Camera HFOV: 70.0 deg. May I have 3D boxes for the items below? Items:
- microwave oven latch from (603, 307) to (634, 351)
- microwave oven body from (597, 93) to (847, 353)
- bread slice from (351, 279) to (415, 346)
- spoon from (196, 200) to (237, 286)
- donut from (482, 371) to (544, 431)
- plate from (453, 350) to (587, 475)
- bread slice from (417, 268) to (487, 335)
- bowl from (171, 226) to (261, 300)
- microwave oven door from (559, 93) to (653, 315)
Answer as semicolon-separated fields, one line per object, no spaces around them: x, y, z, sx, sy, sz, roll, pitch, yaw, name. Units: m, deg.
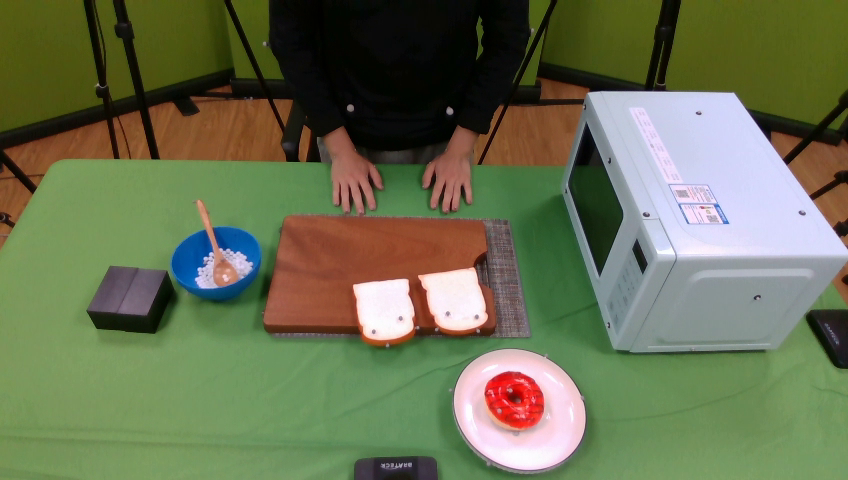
0.332;0.153;1.044;0.030;0.029;0.078;0;45;-3;microwave oven latch
0.475;-0.041;1.110;0.326;0.261;0.438;-1;45;-4;microwave oven body
-0.067;0.122;1.040;0.105;0.019;0.130;-7;47;-9;bread slice
-0.378;0.003;1.086;0.042;0.022;0.193;-15;67;-24;spoon
0.139;0.250;0.942;0.099;0.048;0.098;5;45;-5;donut
0.146;0.267;0.943;0.208;0.039;0.206;2;46;-2;plate
0.055;0.107;1.063;0.107;0.018;0.133;-9;48;-12;bread slice
-0.363;0.054;1.081;0.151;0.077;0.150;2;45;-2;bowl
0.327;-0.074;1.123;0.039;0.245;0.353;-1;46;-5;microwave oven door
